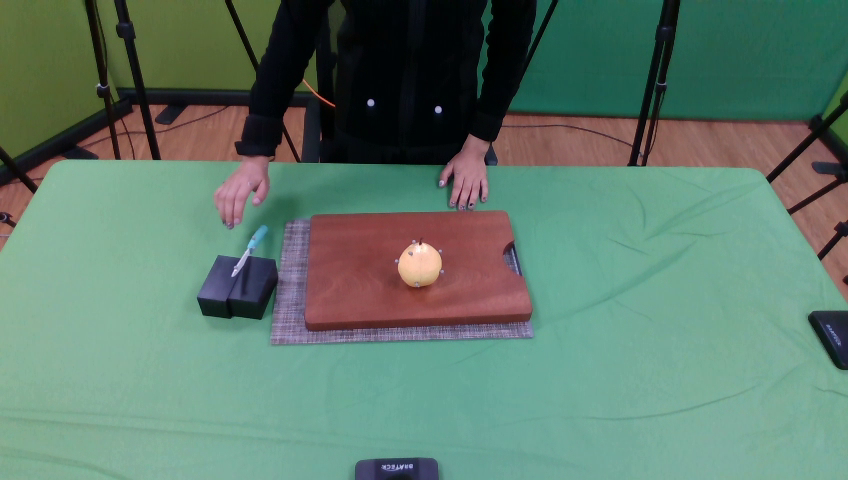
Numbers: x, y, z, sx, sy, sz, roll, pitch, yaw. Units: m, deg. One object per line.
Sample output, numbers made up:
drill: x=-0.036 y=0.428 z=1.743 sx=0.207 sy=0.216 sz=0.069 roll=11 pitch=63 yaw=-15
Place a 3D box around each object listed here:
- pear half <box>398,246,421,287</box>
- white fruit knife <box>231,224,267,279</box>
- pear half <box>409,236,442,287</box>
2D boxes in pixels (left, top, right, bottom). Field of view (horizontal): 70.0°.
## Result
pear half: x=-0.029 y=0.046 z=1.066 sx=0.031 sy=0.088 sz=0.070 roll=-18 pitch=55 yaw=-20
white fruit knife: x=-0.318 y=0.018 z=1.104 sx=0.016 sy=0.027 sz=0.206 roll=11 pitch=25 yaw=-4
pear half: x=0.004 y=0.029 z=1.070 sx=0.056 sy=0.110 sz=0.076 roll=-17 pitch=53 yaw=-20
